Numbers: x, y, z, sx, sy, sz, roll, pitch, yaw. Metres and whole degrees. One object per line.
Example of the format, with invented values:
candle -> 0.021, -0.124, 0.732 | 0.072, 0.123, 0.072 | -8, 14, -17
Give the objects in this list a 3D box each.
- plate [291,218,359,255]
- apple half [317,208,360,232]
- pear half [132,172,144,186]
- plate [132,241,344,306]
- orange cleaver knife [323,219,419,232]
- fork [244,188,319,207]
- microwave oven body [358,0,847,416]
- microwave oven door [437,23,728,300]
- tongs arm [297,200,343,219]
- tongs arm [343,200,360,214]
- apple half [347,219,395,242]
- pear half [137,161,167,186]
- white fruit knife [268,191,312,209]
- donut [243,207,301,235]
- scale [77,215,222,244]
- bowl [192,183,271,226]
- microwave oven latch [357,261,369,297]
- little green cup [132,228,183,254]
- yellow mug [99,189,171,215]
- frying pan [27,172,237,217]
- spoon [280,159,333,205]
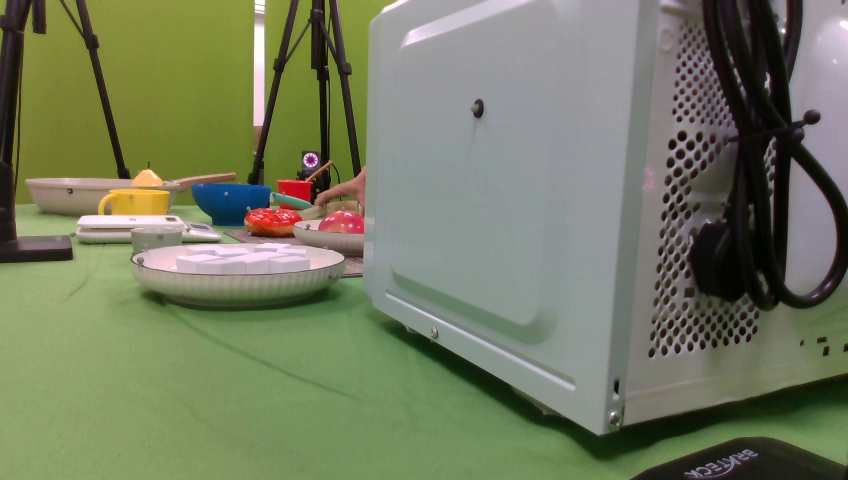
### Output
plate -> -0.098, -0.007, 0.928 | 0.209, 0.038, 0.209 | 2, 8, 0
apple half -> -0.122, -0.020, 0.901 | 0.080, 0.053, 0.075 | 4, 11, 20
pear half -> -0.638, -0.113, 1.361 | 0.031, 0.088, 0.070 | 5, 11, 4
plate -> -0.187, 0.033, 0.625 | 0.208, 0.039, 0.207 | 2, 8, 0
orange cleaver knife -> -0.097, -0.028, 1.152 | 0.077, 0.012, 0.212 | 1, 6, 41
fork -> -0.356, -0.105, 1.526 | 0.208, 0.018, 0.028 | 16, -5, -41
microwave oven body -> 0.211, -0.047, 0.474 | 0.444, 0.260, 0.324 | -1, 7, -28
microwave oven door -> 0.181, -0.072, 0.621 | 0.358, 0.243, 0.039 | -2, 8, -29
tongs arm -> -0.240, -0.071, 1.417 | 0.028, 0.028, 0.387 | -7, 6, 4
tongs arm -> -0.170, -0.074, 1.421 | 0.051, 0.026, 0.384 | -4, 7, -6
apple half -> -0.084, -0.018, 0.967 | 0.081, 0.033, 0.081 | 5, 9, -1
pear half -> -0.602, -0.120, 1.354 | 0.056, 0.110, 0.076 | 4, 11, 6
white fruit knife -> -0.364, -0.105, 1.464 | 0.208, 0.027, 0.016 | 15, 0, -34
donut -> -0.261, -0.032, 1.043 | 0.099, 0.048, 0.099 | 4, 9, 0
scale -> -0.434, -0.019, 0.963 | 0.202, 0.031, 0.148 | -1, 9, -27
bowl -> -0.382, -0.071, 1.202 | 0.151, 0.077, 0.151 | 3, 7, 0
microwave oven latch -> -0.019, 0.033, 0.530 | 0.079, 0.029, 0.030 | -1, 7, -26
little green cup -> -0.342, 0.006, 0.779 | 0.061, 0.038, 0.061 | 2, 8, 0
yellow mug -> -0.518, -0.055, 1.080 | 0.099, 0.064, 0.131 | 6, 9, 26
frying pan -> -0.624, -0.118, 1.387 | 0.305, 0.102, 0.490 | 8, 17, 32
spoon -> -0.316, -0.159, 1.640 | 0.194, 0.022, 0.041 | -50, 32, -20
